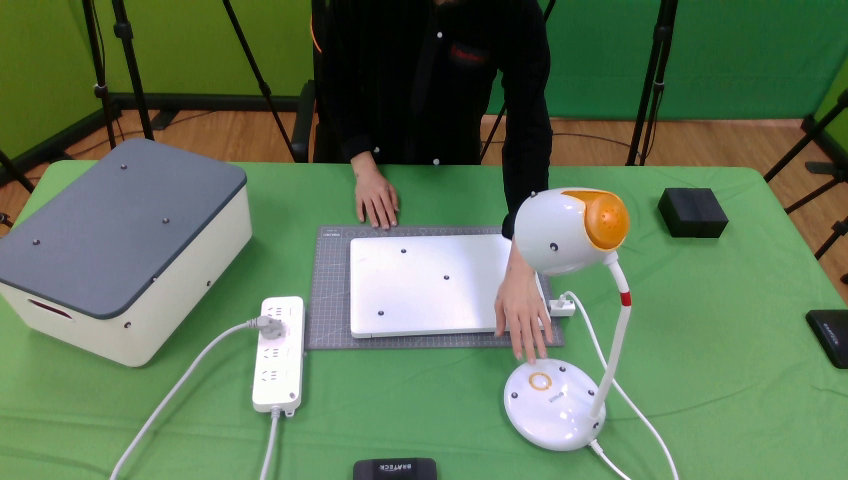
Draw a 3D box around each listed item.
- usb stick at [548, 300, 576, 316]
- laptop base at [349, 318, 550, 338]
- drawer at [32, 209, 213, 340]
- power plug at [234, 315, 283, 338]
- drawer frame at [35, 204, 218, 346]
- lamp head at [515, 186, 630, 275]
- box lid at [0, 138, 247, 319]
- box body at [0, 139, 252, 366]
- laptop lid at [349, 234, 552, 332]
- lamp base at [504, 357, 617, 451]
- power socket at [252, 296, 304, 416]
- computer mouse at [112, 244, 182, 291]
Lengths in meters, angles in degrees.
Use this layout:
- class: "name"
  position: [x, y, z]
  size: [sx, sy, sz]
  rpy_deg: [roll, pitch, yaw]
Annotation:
- class: "usb stick"
  position: [0.239, 0.122, 1.083]
  size: [0.059, 0.027, 0.021]
  rpy_deg: [-2, 52, -2]
- class: "laptop base"
  position: [0.039, 0.081, 1.125]
  size: [0.355, 0.023, 0.234]
  rpy_deg: [-2, 43, -6]
- class: "drawer"
  position: [-0.509, 0.054, 1.046]
  size: [0.194, 0.073, 0.211]
  rpy_deg: [15, 43, 10]
- class: "power plug"
  position: [-0.269, 0.143, 1.000]
  size: [0.072, 0.053, 0.035]
  rpy_deg: [5, 46, 2]
- class: "drawer frame"
  position: [-0.505, 0.054, 1.052]
  size: [0.201, 0.083, 0.212]
  rpy_deg: [14, 52, 12]
- class: "lamp head"
  position: [0.188, -0.013, 0.728]
  size: [0.112, 0.112, 0.122]
  rpy_deg: [-25, 9, -25]
- class: "box lid"
  position: [-0.494, -0.037, 0.994]
  size: [0.263, 0.015, 0.370]
  rpy_deg: [17, 46, 12]
- class: "box body"
  position: [-0.496, 0.013, 1.048]
  size: [0.254, 0.161, 0.362]
  rpy_deg: [17, 47, 12]
- class: "laptop lid"
  position: [0.040, 0.072, 1.118]
  size: [0.357, 0.013, 0.240]
  rpy_deg: [0, 44, -5]
- class: "lamp base"
  position: [0.220, 0.211, 0.903]
  size: [0.160, 0.181, 0.178]
  rpy_deg: [-32, 59, -30]
- class: "power socket"
  position: [-0.238, 0.182, 0.997]
  size: [0.072, 0.033, 0.225]
  rpy_deg: [-3, 47, -5]
- class: "computer mouse"
  position: [-0.493, 0.046, 1.078]
  size: [0.117, 0.041, 0.062]
  rpy_deg: [24, 42, 13]
